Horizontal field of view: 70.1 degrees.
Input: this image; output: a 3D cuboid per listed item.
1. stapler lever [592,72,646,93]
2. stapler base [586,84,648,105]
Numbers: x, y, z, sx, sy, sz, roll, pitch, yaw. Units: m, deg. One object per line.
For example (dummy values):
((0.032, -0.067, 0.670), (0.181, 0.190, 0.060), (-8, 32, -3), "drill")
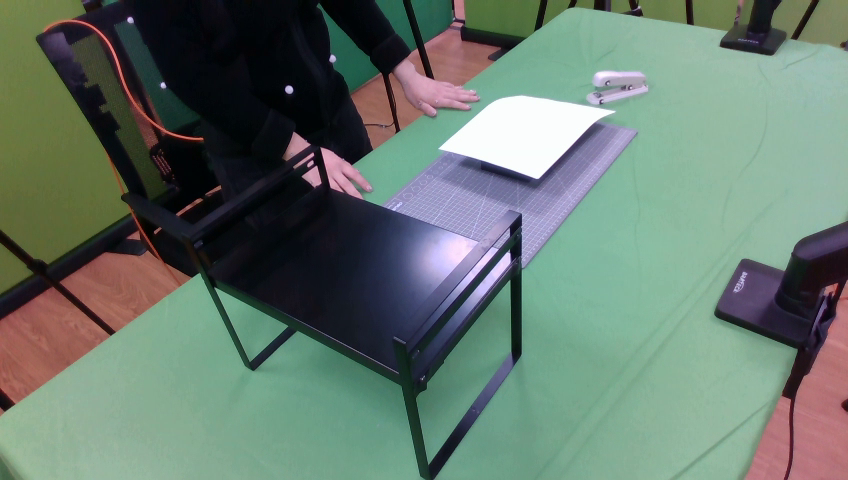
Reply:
((0.409, -0.337, 1.269), (0.118, 0.040, 0.026), (-15, 43, -11), "stapler lever")
((0.410, -0.318, 1.285), (0.131, 0.024, 0.041), (-15, 43, -11), "stapler base")
